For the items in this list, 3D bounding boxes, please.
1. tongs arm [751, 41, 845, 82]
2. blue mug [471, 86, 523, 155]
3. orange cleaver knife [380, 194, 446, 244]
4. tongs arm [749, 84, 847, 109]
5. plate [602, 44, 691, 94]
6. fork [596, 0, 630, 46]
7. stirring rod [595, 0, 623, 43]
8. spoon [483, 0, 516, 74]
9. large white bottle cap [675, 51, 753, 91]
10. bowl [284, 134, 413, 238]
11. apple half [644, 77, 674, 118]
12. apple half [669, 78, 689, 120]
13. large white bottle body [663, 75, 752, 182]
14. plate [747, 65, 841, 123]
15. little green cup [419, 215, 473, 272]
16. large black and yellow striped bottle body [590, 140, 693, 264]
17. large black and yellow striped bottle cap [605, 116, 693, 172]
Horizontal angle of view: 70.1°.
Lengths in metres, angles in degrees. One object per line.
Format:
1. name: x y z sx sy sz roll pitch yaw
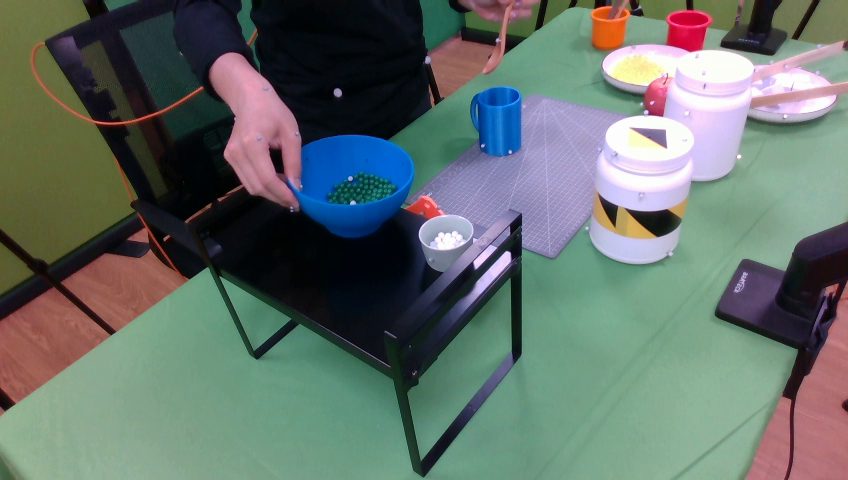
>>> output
1. tongs arm: 0.708 -0.331 1.194 0.386 0.026 0.050 -19 46 -16
2. blue mug: 0.135 -0.235 1.163 0.082 0.106 0.115 -36 48 -28
3. orange cleaver knife: -0.032 -0.026 0.964 0.210 0.077 0.012 -10 29 51
4. tongs arm: 0.735 -0.279 1.134 0.388 0.028 0.028 -9 47 -5
5. plate: 0.494 -0.367 1.317 0.209 0.038 0.208 -4 40 4
6. fork: 0.481 -0.556 1.452 0.028 0.019 0.207 40 103 40
7. stirring rod: 0.460 -0.556 1.459 0.014 0.006 0.176 30 93 23
8. spoon: 0.137 -0.362 0.980 0.022 0.193 0.041 14 15 -16
9. large white bottle cap: 0.463 -0.271 0.967 0.115 0.018 0.114 -4 40 3
10. bowl: -0.088 -0.055 0.730 0.151 0.077 0.150 2 41 -1
11. apple half: 0.463 -0.279 1.194 0.053 0.075 0.081 8 46 24
12. apple half: 0.498 -0.273 1.180 0.032 0.082 0.081 7 42 25
13. large white bottle body: 0.472 -0.207 1.022 0.130 0.185 0.130 -4 41 4
14. plate: 0.694 -0.282 1.189 0.207 0.039 0.206 -4 40 4
15. little green cup: 0.026 0.005 0.678 0.061 0.039 0.061 -4 40 4
16. large black and yellow striped bottle body: 0.317 -0.071 0.889 0.131 0.185 0.130 -4 41 4
17. large black and yellow striped bottle cap: 0.309 -0.134 0.833 0.115 0.019 0.114 -5 40 5
